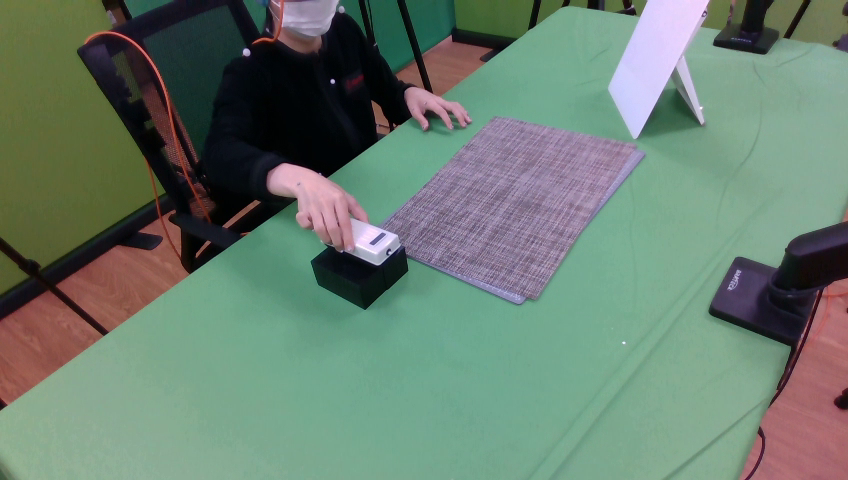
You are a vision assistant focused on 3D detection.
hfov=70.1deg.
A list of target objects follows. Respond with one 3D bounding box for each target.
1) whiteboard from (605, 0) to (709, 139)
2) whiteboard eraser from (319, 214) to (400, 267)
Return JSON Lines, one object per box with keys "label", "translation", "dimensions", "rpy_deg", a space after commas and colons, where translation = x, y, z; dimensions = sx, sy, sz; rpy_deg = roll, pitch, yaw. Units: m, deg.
{"label": "whiteboard", "translation": [0.496, -0.358, 1.146], "dimensions": [0.144, 0.305, 0.216], "rpy_deg": [11, 40, -8]}
{"label": "whiteboard eraser", "translation": [-0.095, 0.001, 0.884], "dimensions": [0.112, 0.042, 0.056], "rpy_deg": [21, 47, 26]}
